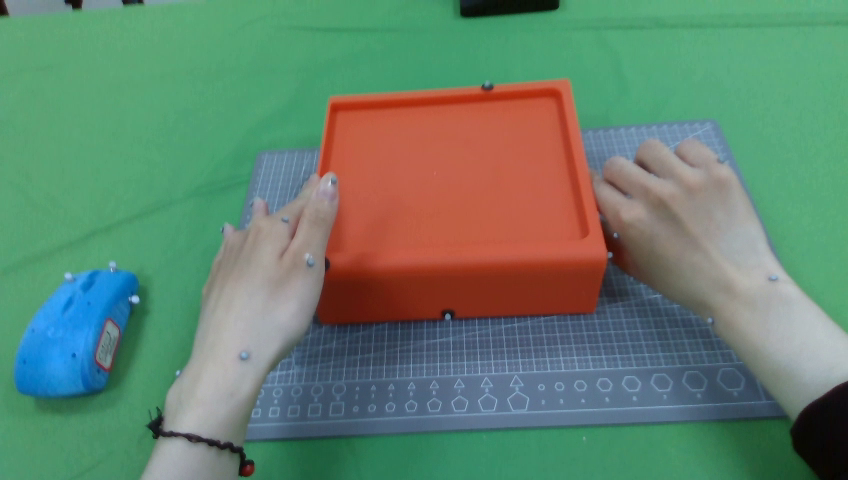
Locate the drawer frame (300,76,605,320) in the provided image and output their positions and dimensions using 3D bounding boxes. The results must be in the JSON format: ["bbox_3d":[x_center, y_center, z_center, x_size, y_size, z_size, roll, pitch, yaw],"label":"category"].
[{"bbox_3d":[0.024,-0.038,0.496,0.213,0.083,0.199,-4,51,4],"label":"drawer frame"}]

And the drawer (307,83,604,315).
[{"bbox_3d":[0.025,-0.037,0.497,0.211,0.074,0.192,-2,52,5],"label":"drawer"}]

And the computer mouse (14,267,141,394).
[{"bbox_3d":[-0.272,0.066,0.479,0.063,0.041,0.116,-4,46,5],"label":"computer mouse"}]
